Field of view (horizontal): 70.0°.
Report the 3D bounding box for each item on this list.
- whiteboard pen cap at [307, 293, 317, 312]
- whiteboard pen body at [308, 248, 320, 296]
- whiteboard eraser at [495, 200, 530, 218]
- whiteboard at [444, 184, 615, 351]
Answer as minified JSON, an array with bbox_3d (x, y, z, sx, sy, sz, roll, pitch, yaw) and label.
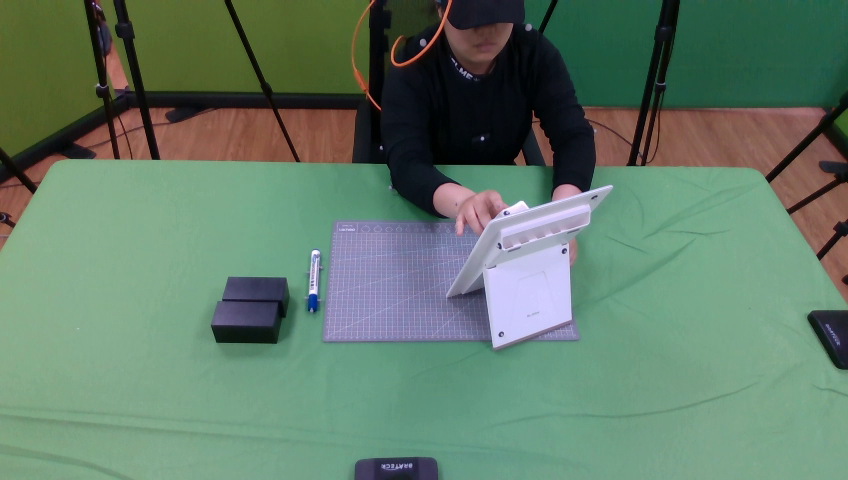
[{"bbox_3d":[-0.199,0.110,1.078,0.018,0.018,0.033,-2,47,-6],"label":"whiteboard pen cap"},{"bbox_3d":[-0.204,0.069,1.119,0.017,0.017,0.140,-1,46,-5],"label":"whiteboard pen body"},{"bbox_3d":[0.133,-0.019,0.997,0.055,0.113,0.041,-22,71,-25],"label":"whiteboard eraser"},{"bbox_3d":[0.186,0.065,0.989,0.217,0.306,0.143,-15,68,-18],"label":"whiteboard"}]
